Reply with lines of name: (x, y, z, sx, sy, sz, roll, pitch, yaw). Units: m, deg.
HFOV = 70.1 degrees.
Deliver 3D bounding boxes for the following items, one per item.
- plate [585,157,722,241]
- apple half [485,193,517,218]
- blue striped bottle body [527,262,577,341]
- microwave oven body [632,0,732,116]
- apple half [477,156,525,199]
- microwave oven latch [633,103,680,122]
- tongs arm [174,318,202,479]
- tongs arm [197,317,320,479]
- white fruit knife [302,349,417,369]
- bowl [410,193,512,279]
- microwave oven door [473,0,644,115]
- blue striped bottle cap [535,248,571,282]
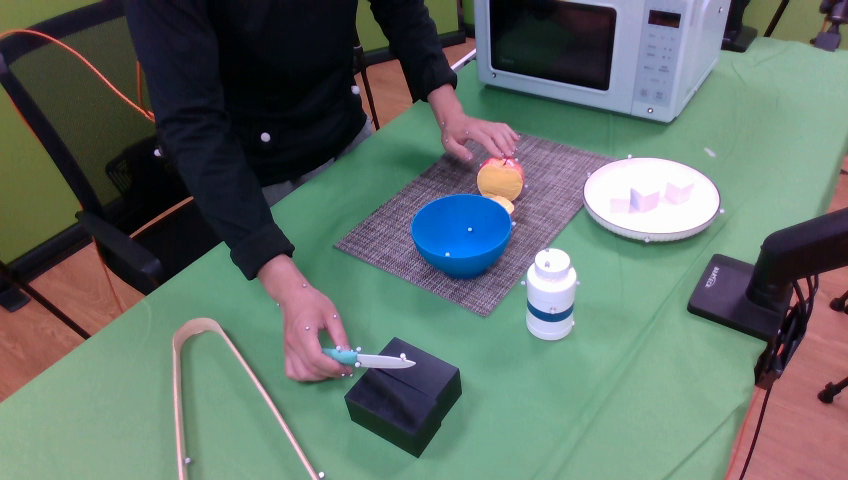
plate: (0.367, -0.063, 0.979, 0.207, 0.039, 0.206, -4, 40, 4)
apple half: (0.115, -0.044, 0.983, 0.081, 0.033, 0.081, -12, 34, 8)
blue striped bottle body: (0.165, 0.070, 0.786, 0.063, 0.121, 0.063, -4, 41, 4)
microwave oven body: (0.377, -0.462, 1.267, 0.438, 0.261, 0.327, 21, 48, 30)
apple half: (0.132, -0.107, 1.028, 0.080, 0.075, 0.053, 10, 37, 10)
microwave oven latch: (0.444, -0.249, 1.157, 0.078, 0.029, 0.030, 21, 49, 30)
tongs arm: (-0.272, 0.234, 0.723, 0.051, 0.026, 0.381, -19, 40, -14)
tongs arm: (-0.199, 0.206, 0.750, 0.028, 0.028, 0.384, -31, 45, -22)
white fruit knife: (-0.084, 0.146, 0.739, 0.206, 0.027, 0.016, -7, 34, 41)
bowl: (0.058, 0.005, 0.905, 0.151, 0.077, 0.150, -4, 40, 4)
microwave oven door: (0.257, -0.396, 1.199, 0.353, 0.245, 0.039, 21, 48, 29)
blue striped bottle cap: (0.161, 0.031, 0.753, 0.044, 0.021, 0.044, -4, 42, 4)
